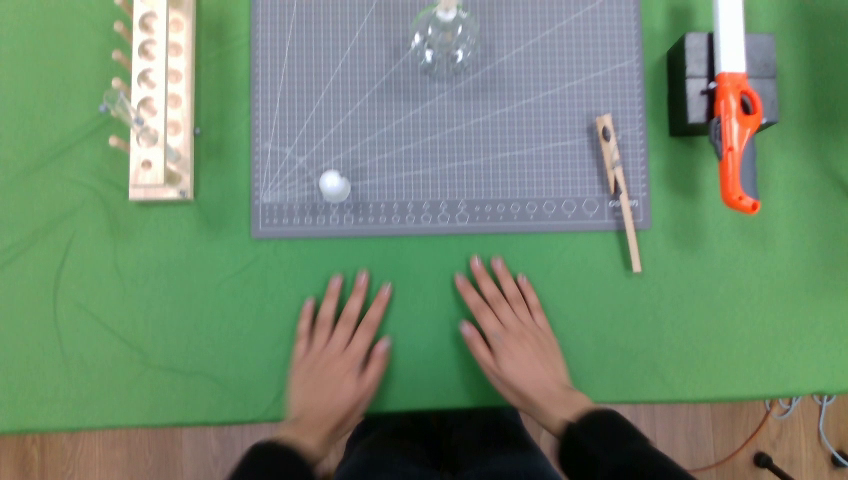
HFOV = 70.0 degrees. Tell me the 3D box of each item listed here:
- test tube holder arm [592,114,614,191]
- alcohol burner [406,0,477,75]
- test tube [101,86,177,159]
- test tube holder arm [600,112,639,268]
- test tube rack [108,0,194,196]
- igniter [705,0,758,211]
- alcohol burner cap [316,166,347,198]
[{"bbox_3d":[0.205,-0.099,0.686,0.010,0.015,0.087,-13,88,20],"label":"test tube holder arm"},{"bbox_3d":[0.019,-0.223,0.643,0.078,0.119,0.077,0,85,0],"label":"alcohol burner"},{"bbox_3d":[-0.273,-0.110,0.591,0.017,0.150,0.017,1,78,-3],"label":"test tube"},{"bbox_3d":[0.220,-0.056,0.683,0.013,0.015,0.178,-13,88,20],"label":"test tube holder arm"},{"bbox_3d":[-0.293,-0.173,0.645,0.067,0.085,0.241,-1,85,-2],"label":"test tube rack"},{"bbox_3d":[0.326,-0.167,0.647,0.057,0.025,0.275,0,82,-4],"label":"igniter"},{"bbox_3d":[-0.103,-0.065,0.661,0.034,0.048,0.034,0,84,-4],"label":"alcohol burner cap"}]
